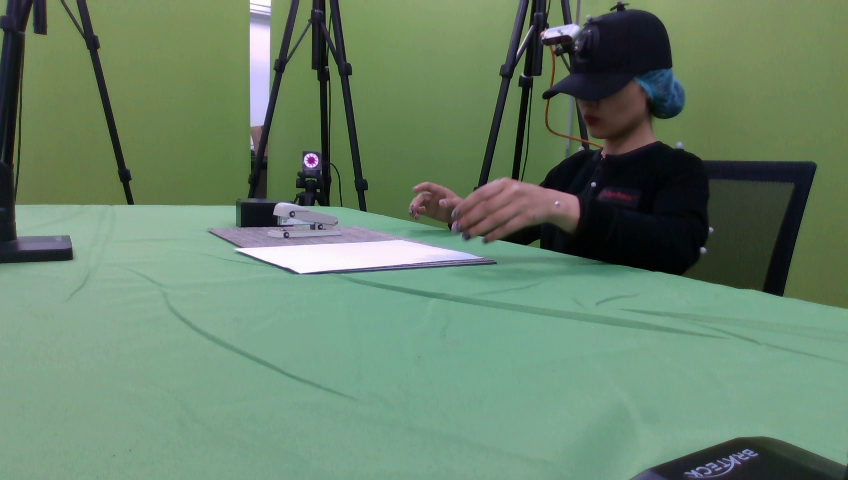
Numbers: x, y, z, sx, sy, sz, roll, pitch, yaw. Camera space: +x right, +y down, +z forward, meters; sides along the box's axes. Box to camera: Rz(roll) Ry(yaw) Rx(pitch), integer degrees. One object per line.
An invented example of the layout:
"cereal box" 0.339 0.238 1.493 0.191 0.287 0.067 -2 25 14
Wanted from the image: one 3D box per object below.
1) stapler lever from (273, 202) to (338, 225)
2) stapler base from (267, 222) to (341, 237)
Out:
"stapler lever" -0.206 -0.045 1.055 0.119 0.040 0.026 -2 12 -41
"stapler base" -0.208 -0.020 1.057 0.131 0.024 0.041 -2 12 -41
